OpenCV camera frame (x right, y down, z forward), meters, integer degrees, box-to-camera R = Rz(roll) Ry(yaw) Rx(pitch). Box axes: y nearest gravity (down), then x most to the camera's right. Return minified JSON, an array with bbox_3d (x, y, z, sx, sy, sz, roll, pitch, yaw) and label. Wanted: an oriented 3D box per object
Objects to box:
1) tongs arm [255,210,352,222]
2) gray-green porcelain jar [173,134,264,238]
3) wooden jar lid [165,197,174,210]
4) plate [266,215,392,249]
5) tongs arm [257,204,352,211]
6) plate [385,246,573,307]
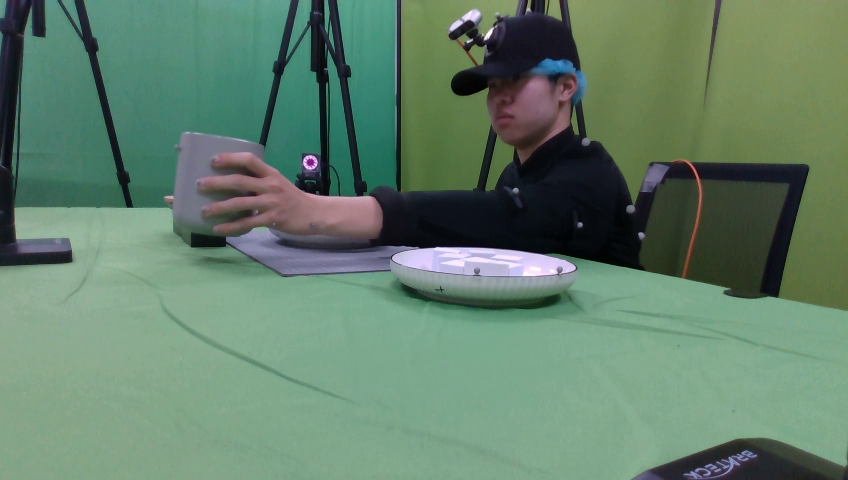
[{"bbox_3d":[-0.337,-0.053,1.329,0.389,0.028,0.028,-1,6,-27],"label":"tongs arm"},{"bbox_3d":[-0.275,-0.070,0.808,0.106,0.126,0.106,8,3,0],"label":"gray-green porcelain jar"},{"bbox_3d":[-0.369,-0.060,1.001,0.108,0.020,0.108,3,6,0],"label":"wooden jar lid"},{"bbox_3d":[-0.159,-0.015,1.019,0.209,0.038,0.209,3,7,0],"label":"plate"},{"bbox_3d":[-0.362,-0.068,1.406,0.386,0.026,0.050,2,8,-14],"label":"tongs arm"},{"bbox_3d":[0.060,0.041,0.678,0.208,0.039,0.207,3,7,0],"label":"plate"}]
